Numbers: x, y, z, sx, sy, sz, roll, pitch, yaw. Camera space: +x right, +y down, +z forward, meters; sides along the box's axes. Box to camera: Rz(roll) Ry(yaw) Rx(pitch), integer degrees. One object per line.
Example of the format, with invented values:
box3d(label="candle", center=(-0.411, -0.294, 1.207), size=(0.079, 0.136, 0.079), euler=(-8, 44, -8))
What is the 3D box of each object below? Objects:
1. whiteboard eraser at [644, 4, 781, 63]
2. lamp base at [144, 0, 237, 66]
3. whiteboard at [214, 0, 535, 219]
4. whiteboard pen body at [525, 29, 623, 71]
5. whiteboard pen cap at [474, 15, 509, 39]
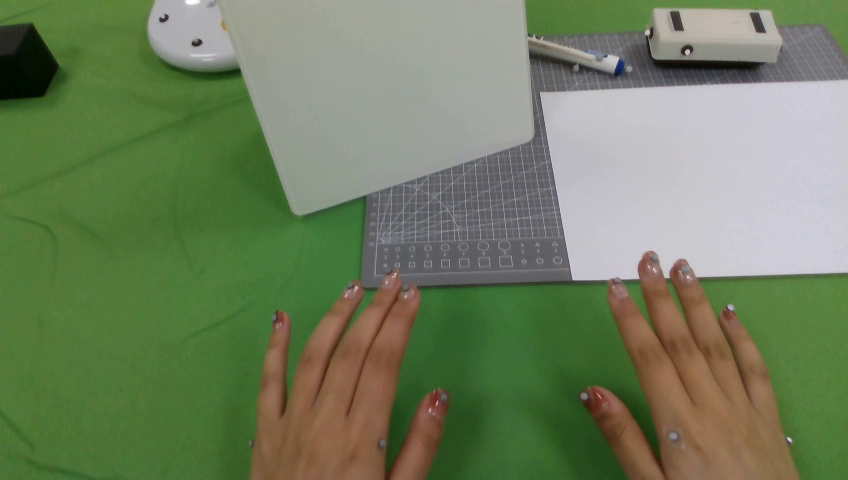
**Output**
box3d(label="whiteboard eraser", center=(0.266, -0.192, 0.565), size=(0.112, 0.042, 0.055), euler=(1, 52, 4))
box3d(label="lamp base", center=(-0.224, -0.288, 0.579), size=(0.177, 0.182, 0.160), euler=(33, 61, 27))
box3d(label="whiteboard", center=(-0.052, -0.209, 0.470), size=(0.217, 0.308, 0.142), euler=(-19, 35, -10))
box3d(label="whiteboard pen body", center=(0.121, -0.188, 0.582), size=(0.140, 0.017, 0.017), euler=(20, 57, 13))
box3d(label="whiteboard pen cap", center=(0.067, -0.209, 0.596), size=(0.033, 0.018, 0.018), euler=(20, 57, 12))
